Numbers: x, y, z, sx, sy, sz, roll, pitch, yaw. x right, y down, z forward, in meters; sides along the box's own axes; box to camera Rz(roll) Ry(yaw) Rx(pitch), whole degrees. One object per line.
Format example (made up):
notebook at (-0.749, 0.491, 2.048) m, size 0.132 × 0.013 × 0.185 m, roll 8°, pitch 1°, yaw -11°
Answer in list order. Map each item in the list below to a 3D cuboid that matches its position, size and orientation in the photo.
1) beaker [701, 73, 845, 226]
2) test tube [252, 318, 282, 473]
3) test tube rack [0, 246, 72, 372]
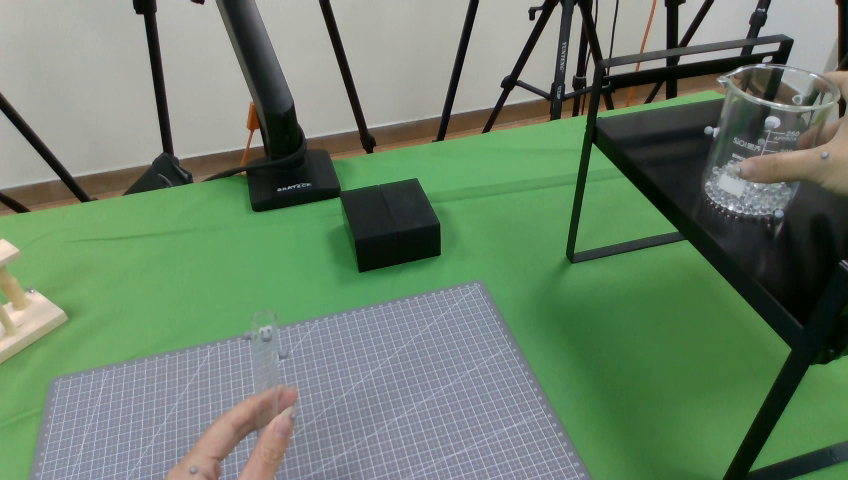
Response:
beaker at (0.260, -0.068, 0.470) m, size 0.083 × 0.101 × 0.074 m, roll 23°, pitch 45°, yaw 29°
test tube at (-0.106, 0.112, 0.414) m, size 0.017 × 0.151 × 0.017 m, roll 6°, pitch 36°, yaw -4°
test tube rack at (-0.481, 0.112, 0.572) m, size 0.066 × 0.086 × 0.242 m, roll 24°, pitch 45°, yaw 28°
